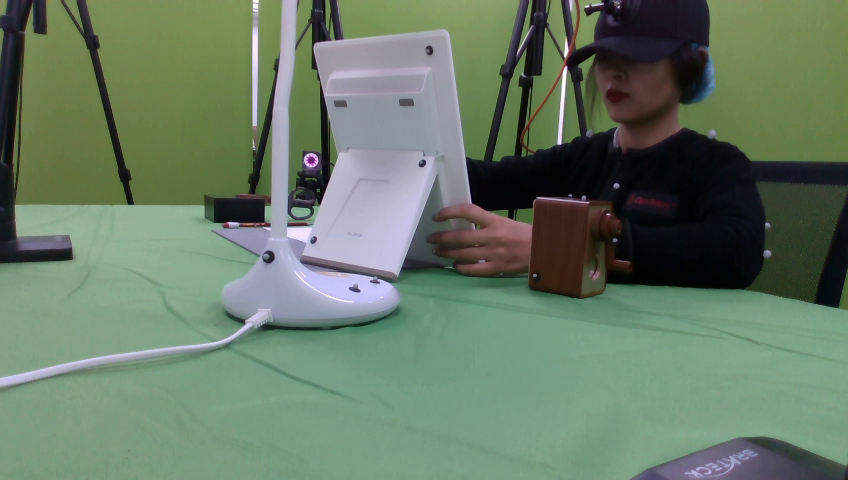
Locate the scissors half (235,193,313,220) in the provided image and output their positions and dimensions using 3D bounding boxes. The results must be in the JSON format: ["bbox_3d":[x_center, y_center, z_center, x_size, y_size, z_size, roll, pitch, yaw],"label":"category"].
[{"bbox_3d":[-0.325,-0.077,1.320,0.176,0.040,0.012,17,8,-32],"label":"scissors half"}]

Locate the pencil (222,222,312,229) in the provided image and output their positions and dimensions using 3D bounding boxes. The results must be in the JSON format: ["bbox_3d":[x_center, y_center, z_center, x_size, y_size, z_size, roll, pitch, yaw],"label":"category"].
[{"bbox_3d":[-0.302,-0.030,1.189,0.195,0.012,0.012,-2,9,-42],"label":"pencil"}]

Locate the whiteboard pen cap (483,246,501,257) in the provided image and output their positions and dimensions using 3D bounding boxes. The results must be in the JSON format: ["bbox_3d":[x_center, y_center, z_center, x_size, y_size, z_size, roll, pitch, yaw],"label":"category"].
[{"bbox_3d":[0.104,0.017,0.936,0.018,0.018,0.033,-1,3,-22],"label":"whiteboard pen cap"}]

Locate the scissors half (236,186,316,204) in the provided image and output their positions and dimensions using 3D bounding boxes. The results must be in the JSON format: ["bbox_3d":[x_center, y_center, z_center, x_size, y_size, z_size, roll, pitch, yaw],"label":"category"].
[{"bbox_3d":[-0.320,-0.096,1.316,0.176,0.040,0.013,-4,13,-29],"label":"scissors half"}]

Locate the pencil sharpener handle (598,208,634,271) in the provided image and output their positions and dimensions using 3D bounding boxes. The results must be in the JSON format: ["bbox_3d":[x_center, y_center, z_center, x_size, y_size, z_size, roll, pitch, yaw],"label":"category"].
[{"bbox_3d":[0.208,0.000,0.644,0.030,0.068,0.036,10,23,42],"label":"pencil sharpener handle"}]

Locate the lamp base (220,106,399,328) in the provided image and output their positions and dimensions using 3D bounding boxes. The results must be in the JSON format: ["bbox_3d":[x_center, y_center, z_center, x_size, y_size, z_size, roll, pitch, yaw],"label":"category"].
[{"bbox_3d":[-0.101,-0.023,0.531,0.160,0.180,0.179,4,10,10],"label":"lamp base"}]

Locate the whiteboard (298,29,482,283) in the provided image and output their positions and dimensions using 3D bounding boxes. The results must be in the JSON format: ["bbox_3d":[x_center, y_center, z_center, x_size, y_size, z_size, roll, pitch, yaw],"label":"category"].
[{"bbox_3d":[-0.075,-0.082,0.742,0.216,0.305,0.144,9,29,37],"label":"whiteboard"}]

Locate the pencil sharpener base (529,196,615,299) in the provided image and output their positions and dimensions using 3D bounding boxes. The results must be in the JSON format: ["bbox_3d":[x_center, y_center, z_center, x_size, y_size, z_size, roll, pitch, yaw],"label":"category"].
[{"bbox_3d":[0.168,0.007,0.677,0.076,0.107,0.062,10,10,42],"label":"pencil sharpener base"}]

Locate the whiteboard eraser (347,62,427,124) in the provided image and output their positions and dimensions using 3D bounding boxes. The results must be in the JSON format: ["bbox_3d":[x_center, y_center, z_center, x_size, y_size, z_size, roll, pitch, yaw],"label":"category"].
[{"bbox_3d":[-0.052,-0.188,0.784,0.112,0.055,0.042,-8,18,42],"label":"whiteboard eraser"}]

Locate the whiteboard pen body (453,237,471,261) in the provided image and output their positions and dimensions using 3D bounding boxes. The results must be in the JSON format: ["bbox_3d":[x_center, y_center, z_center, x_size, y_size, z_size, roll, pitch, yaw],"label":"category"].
[{"bbox_3d":[0.058,0.015,0.912,0.017,0.017,0.140,2,10,-3],"label":"whiteboard pen body"}]
